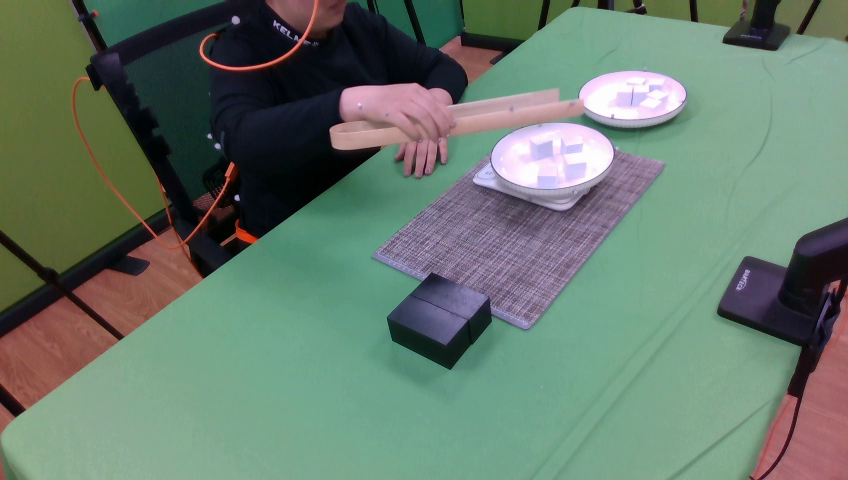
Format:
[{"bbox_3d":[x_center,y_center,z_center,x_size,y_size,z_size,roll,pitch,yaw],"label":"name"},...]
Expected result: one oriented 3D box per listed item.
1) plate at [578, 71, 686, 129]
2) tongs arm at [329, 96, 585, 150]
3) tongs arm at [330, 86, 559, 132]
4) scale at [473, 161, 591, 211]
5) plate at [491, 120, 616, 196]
[{"bbox_3d":[0.416,-0.280,1.222,0.209,0.038,0.208,-5,41,5],"label":"plate"},{"bbox_3d":[0.054,-0.178,0.905,0.386,0.026,0.050,-11,28,-11],"label":"tongs arm"},{"bbox_3d":[0.041,-0.199,0.950,0.389,0.028,0.028,-13,32,-15],"label":"tongs arm"},{"bbox_3d":[0.202,-0.121,1.074,0.199,0.032,0.149,23,49,33],"label":"scale"},{"bbox_3d":[0.221,-0.137,1.038,0.207,0.039,0.206,-6,41,5],"label":"plate"}]
